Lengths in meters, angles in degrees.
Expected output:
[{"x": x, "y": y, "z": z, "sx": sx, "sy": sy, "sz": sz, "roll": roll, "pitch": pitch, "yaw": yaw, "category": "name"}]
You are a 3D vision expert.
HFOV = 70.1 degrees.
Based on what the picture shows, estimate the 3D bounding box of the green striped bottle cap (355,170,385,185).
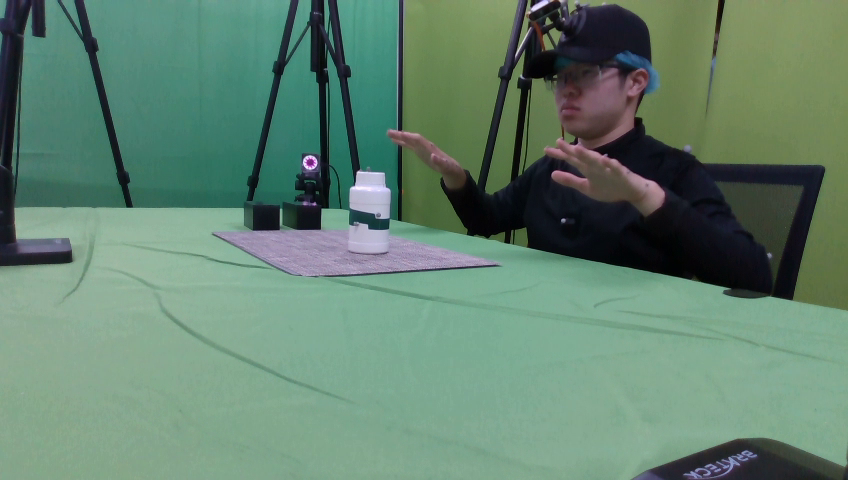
[{"x": -0.080, "y": -0.094, "z": 0.907, "sx": 0.044, "sy": 0.020, "sz": 0.044, "roll": 3, "pitch": 9, "yaw": 0, "category": "green striped bottle cap"}]

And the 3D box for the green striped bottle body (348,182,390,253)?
[{"x": -0.083, "y": -0.043, "z": 0.914, "sx": 0.063, "sy": 0.119, "sz": 0.063, "roll": 2, "pitch": 7, "yaw": 0, "category": "green striped bottle body"}]
